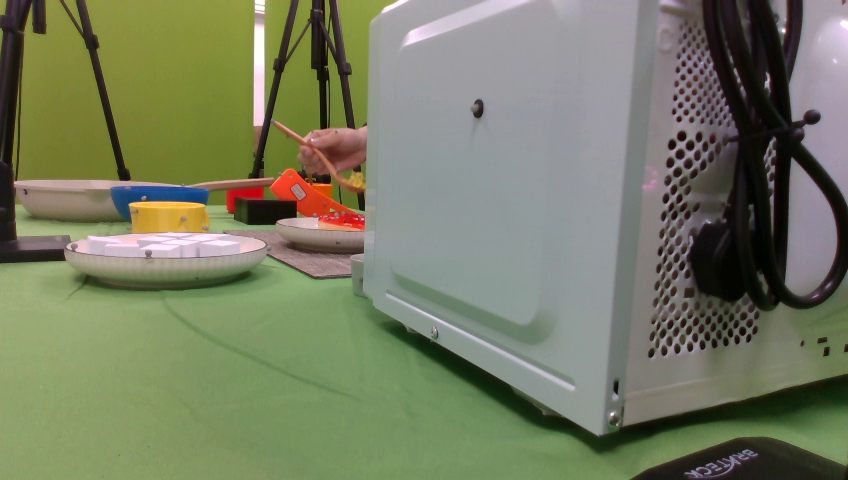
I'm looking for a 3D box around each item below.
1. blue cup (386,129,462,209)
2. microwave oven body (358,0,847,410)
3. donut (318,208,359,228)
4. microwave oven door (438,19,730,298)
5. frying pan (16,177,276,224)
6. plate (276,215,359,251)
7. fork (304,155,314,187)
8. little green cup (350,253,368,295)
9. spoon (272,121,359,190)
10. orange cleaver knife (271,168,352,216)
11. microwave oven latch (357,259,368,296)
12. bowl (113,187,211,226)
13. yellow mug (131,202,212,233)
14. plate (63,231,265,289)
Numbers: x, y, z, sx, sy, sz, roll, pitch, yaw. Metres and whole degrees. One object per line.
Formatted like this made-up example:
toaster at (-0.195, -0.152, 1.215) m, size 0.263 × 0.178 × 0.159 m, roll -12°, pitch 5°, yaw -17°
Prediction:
blue cup at (0.005, -0.104, 0.957) m, size 0.100 × 0.092 × 0.093 m, roll 45°, pitch 13°, yaw 3°
microwave oven body at (0.210, -0.051, 0.471) m, size 0.444 × 0.260 × 0.324 m, roll -1°, pitch 7°, yaw -28°
donut at (-0.118, -0.024, 0.954) m, size 0.099 × 0.048 × 0.099 m, roll 5°, pitch 7°, yaw 0°
microwave oven door at (0.181, -0.076, 0.618) m, size 0.358 × 0.243 × 0.039 m, roll -2°, pitch 8°, yaw -28°
frying pan at (-0.554, -0.097, 1.266) m, size 0.490 × 0.102 × 0.305 m, roll -10°, pitch 13°, yaw -24°
plate at (-0.126, -0.012, 0.950) m, size 0.209 × 0.038 × 0.209 m, roll 2°, pitch 7°, yaw 0°
fork at (-0.268, -0.134, 1.446) m, size 0.028 × 0.018 × 0.207 m, roll 1°, pitch -36°, yaw -1°
little green cup at (-0.048, 0.035, 0.632) m, size 0.061 × 0.038 × 0.061 m, roll 3°, pitch 6°, yaw 0°
spoon at (-0.170, -0.135, 0.960) m, size 0.193 × 0.021 × 0.042 m, roll 41°, pitch 12°, yaw 14°
orange cleaver knife at (-0.237, -0.084, 1.332) m, size 0.212 × 0.077 × 0.012 m, roll 31°, pitch -9°, yaw -31°
microwave oven latch at (-0.019, 0.031, 0.528) m, size 0.079 × 0.029 × 0.030 m, roll -1°, pitch 7°, yaw -25°
bowl at (-0.437, -0.046, 1.013) m, size 0.151 × 0.077 × 0.151 m, roll 2°, pitch 7°, yaw 0°
yellow mug at (-0.356, -0.020, 0.878) m, size 0.099 × 0.064 × 0.131 m, roll 5°, pitch 7°, yaw 21°
plate at (-0.288, 0.021, 0.687) m, size 0.208 × 0.039 × 0.207 m, roll 2°, pitch 8°, yaw 0°
